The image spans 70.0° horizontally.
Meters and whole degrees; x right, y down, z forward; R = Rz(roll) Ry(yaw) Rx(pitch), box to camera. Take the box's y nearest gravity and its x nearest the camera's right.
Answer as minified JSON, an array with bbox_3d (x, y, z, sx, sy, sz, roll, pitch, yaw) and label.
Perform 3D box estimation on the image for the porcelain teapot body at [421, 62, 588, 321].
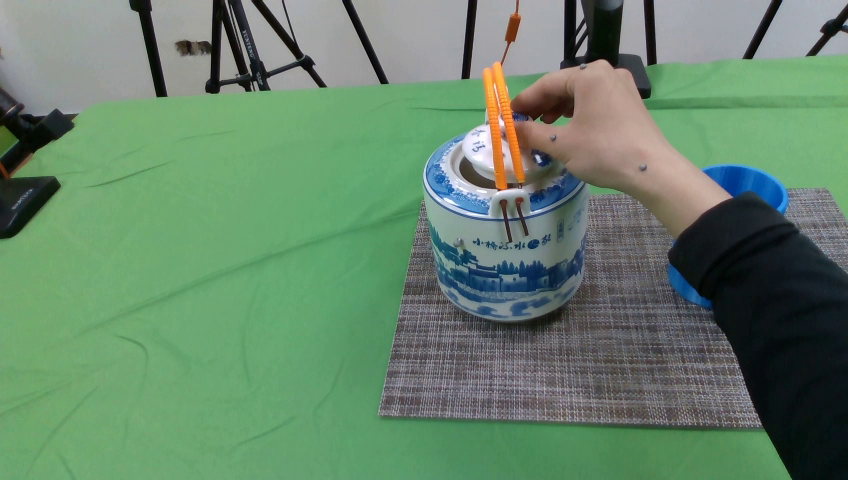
[{"bbox_3d":[0.070,-0.062,0.561,0.145,0.227,0.203,-6,41,4],"label":"porcelain teapot body"}]

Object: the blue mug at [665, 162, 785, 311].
[{"bbox_3d":[0.267,0.006,0.538,0.082,0.107,0.115,-1,42,10],"label":"blue mug"}]

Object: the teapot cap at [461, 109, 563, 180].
[{"bbox_3d":[0.072,-0.084,0.500,0.085,0.044,0.084,-1,38,1],"label":"teapot cap"}]
